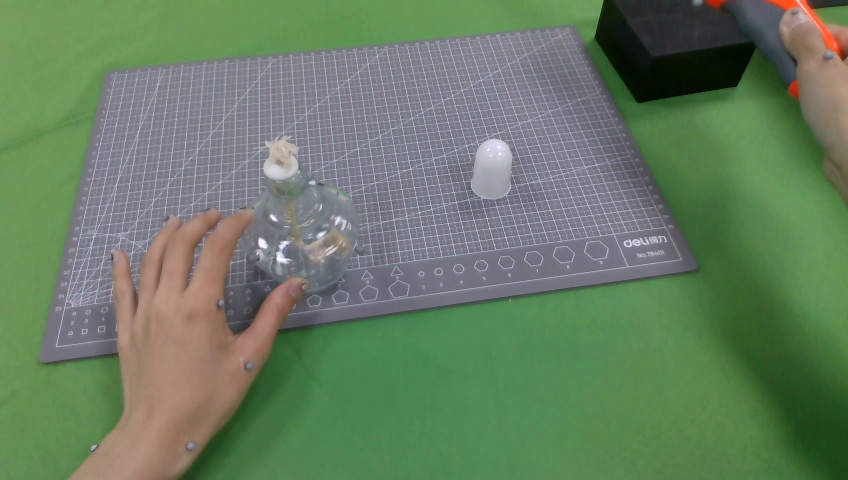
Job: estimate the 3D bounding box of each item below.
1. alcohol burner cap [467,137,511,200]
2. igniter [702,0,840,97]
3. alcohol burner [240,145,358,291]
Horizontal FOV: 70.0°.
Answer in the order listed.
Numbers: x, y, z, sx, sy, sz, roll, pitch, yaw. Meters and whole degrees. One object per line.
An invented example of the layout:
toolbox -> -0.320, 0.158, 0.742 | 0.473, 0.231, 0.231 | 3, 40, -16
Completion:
alcohol burner cap -> 0.051, -0.058, 0.463 | 0.034, 0.048, 0.033 | 1, 53, -1
igniter -> 0.210, -0.216, 0.440 | 0.057, 0.025, 0.274 | -28, 66, 14
alcohol burner -> -0.083, -0.018, 0.390 | 0.078, 0.120, 0.077 | 0, 55, 1
